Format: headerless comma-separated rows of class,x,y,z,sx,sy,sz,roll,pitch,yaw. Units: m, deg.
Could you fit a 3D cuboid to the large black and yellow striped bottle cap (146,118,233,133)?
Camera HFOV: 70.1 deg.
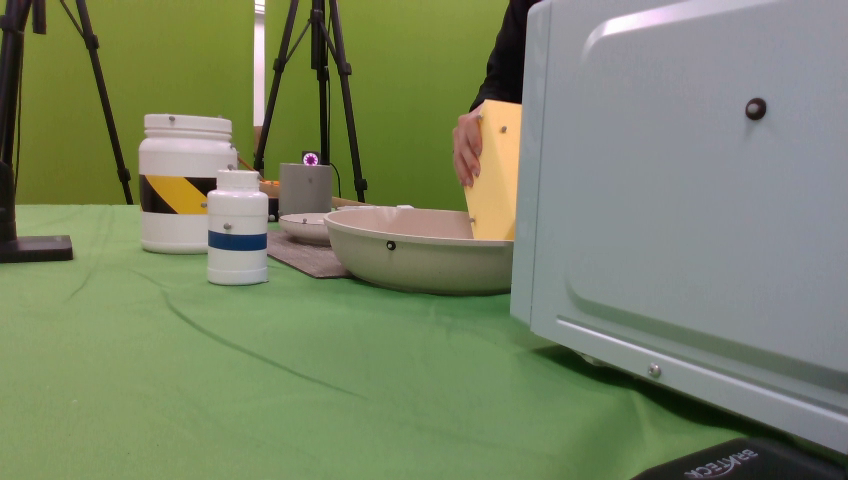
large black and yellow striped bottle cap,-0.333,-0.163,0.861,0.115,0.019,0.115,1,9,0

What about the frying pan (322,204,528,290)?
frying pan,0.109,-0.017,0.800,0.490,0.102,0.305,-12,16,-30

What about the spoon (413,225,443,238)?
spoon,0.016,-0.020,1.113,0.041,0.021,0.194,-14,3,12

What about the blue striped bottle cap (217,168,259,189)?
blue striped bottle cap,-0.202,-0.067,0.657,0.044,0.020,0.044,0,10,0

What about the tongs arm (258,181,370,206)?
tongs arm,-0.241,-0.095,1.373,0.387,0.026,0.050,9,0,-37

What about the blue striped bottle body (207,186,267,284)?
blue striped bottle body,-0.204,-0.016,0.663,0.063,0.120,0.063,2,7,0

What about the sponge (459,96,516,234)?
sponge,0.104,-0.071,0.770,0.061,0.118,0.206,4,51,-15

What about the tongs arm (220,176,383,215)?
tongs arm,-0.285,-0.103,1.445,0.389,0.027,0.028,9,-4,-23

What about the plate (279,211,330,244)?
plate,-0.139,-0.022,1.021,0.209,0.038,0.209,2,8,0

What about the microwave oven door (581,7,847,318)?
microwave oven door,0.295,-0.067,0.569,0.358,0.243,0.039,-3,8,-31

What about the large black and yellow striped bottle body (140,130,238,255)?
large black and yellow striped bottle body,-0.336,-0.078,0.871,0.131,0.184,0.130,2,8,0

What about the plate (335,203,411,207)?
plate,-0.089,-0.053,1.309,0.208,0.039,0.207,2,8,0

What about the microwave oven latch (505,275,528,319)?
microwave oven latch,0.100,0.042,0.471,0.079,0.029,0.030,-1,7,-29

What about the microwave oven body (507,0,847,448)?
microwave oven body,0.331,-0.042,0.425,0.444,0.260,0.324,-2,8,-31

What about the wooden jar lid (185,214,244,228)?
wooden jar lid,-0.404,-0.037,1.169,0.108,0.020,0.108,3,7,0

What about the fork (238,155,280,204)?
fork,-0.396,-0.143,1.487,0.028,0.018,0.208,19,-26,44

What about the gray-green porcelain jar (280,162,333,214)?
gray-green porcelain jar,-0.238,-0.092,1.221,0.106,0.126,0.106,2,7,0
